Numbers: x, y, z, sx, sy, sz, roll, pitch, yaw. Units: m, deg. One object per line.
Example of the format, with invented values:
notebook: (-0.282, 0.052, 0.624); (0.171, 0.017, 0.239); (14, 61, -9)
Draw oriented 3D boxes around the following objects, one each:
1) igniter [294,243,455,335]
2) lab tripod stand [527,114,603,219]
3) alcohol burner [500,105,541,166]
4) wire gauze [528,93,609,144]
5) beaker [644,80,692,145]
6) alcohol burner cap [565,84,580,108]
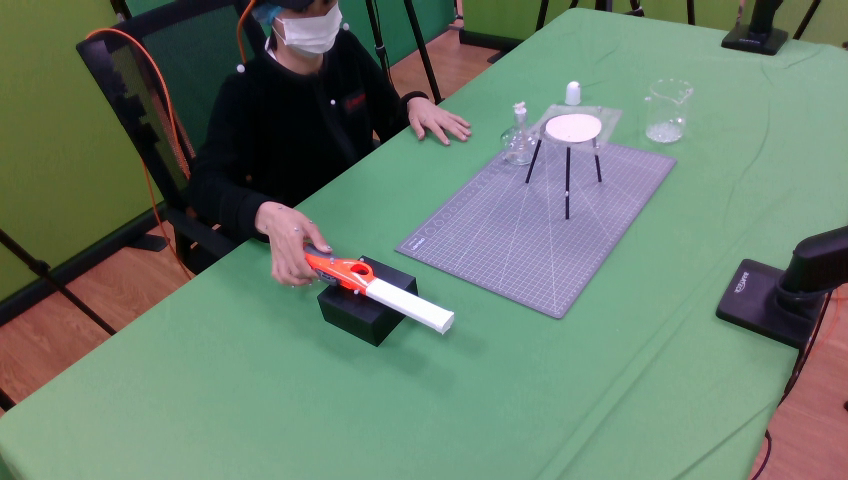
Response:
igniter: (-0.079, 0.062, 0.838); (0.274, 0.025, 0.057); (22, 45, 27)
lab tripod stand: (0.234, -0.129, 1.002); (0.148, 0.132, 0.147); (-6, 40, 6)
alcohol burner: (0.178, -0.196, 1.107); (0.078, 0.119, 0.077); (-5, 42, 5)
wire gauze: (0.225, -0.188, 0.943); (0.121, 0.011, 0.124); (6, 48, 9)
beaker: (0.451, -0.233, 1.122); (0.074, 0.101, 0.083); (-8, 40, 1)
alcohol burner cap: (0.315, -0.307, 1.278); (0.034, 0.048, 0.033); (-5, 42, 5)
